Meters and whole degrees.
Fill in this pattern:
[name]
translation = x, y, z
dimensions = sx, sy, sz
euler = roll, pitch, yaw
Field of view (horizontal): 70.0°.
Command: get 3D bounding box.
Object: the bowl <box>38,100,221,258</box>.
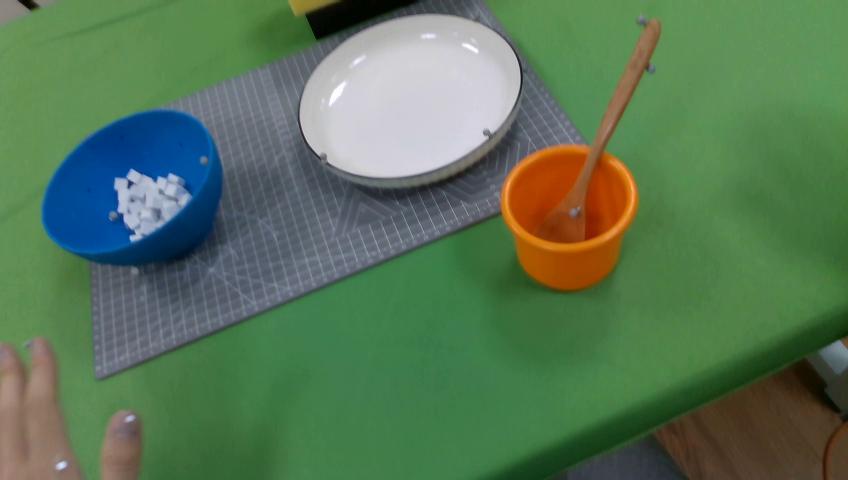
[bowl]
translation = -0.237, -0.039, 0.525
dimensions = 0.151, 0.077, 0.150
euler = -6, 58, 9

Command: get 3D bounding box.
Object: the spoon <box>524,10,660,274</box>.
[spoon]
translation = 0.119, -0.063, 0.424
dimensions = 0.041, 0.194, 0.022
euler = 31, 26, 26

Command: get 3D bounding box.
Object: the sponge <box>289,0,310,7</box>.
[sponge]
translation = -0.060, -0.331, 0.620
dimensions = 0.207, 0.061, 0.117
euler = -21, 57, -2

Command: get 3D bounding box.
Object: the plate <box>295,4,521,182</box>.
[plate]
translation = -0.015, -0.134, 0.559
dimensions = 0.209, 0.038, 0.207
euler = -5, 59, 9
